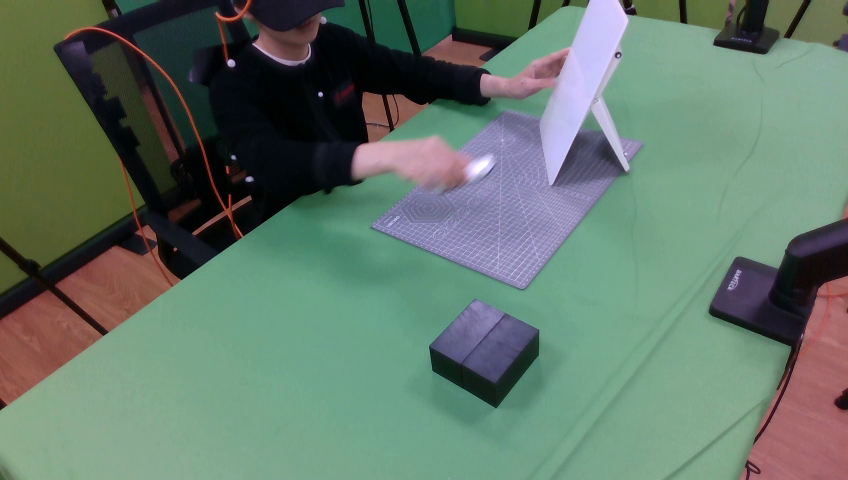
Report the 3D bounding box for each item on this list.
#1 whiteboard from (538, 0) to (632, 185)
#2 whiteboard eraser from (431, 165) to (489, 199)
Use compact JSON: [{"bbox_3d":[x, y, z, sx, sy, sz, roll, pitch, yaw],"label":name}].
[{"bbox_3d":[0.327,-0.259,1.055,0.144,0.305,0.216,13,40,-6],"label":"whiteboard"},{"bbox_3d":[0.054,-0.089,0.913,0.100,0.019,0.041,-16,28,36],"label":"whiteboard eraser"}]
